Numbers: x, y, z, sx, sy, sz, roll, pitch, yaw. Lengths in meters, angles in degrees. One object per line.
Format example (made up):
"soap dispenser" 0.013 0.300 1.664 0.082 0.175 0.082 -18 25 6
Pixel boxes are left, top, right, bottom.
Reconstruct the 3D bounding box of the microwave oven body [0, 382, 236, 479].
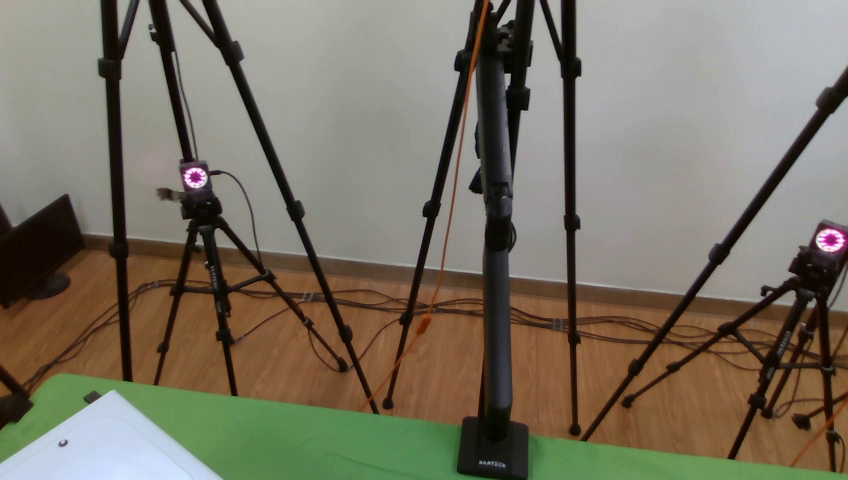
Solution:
"microwave oven body" -0.446 0.440 0.699 0.323 0.262 0.441 24 42 28
